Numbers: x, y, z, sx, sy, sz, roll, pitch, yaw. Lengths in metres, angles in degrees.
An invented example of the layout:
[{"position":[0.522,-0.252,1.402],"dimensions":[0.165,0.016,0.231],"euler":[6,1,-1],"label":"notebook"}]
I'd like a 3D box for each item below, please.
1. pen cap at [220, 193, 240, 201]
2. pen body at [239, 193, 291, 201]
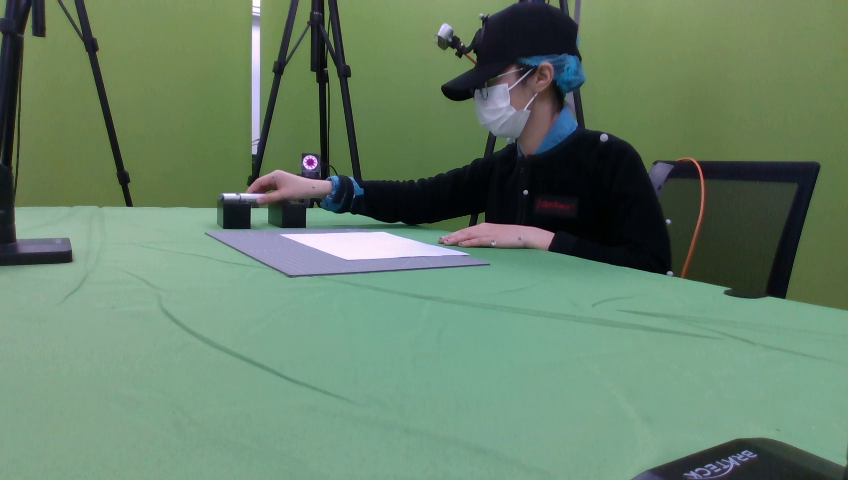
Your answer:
[{"position":[-0.383,-0.085,1.194],"dimensions":[0.039,0.017,0.017],"euler":[-5,10,-44],"label":"pen cap"},{"position":[-0.337,-0.089,1.238],"dimensions":[0.145,0.017,0.017],"euler":[-6,11,-45],"label":"pen body"}]
